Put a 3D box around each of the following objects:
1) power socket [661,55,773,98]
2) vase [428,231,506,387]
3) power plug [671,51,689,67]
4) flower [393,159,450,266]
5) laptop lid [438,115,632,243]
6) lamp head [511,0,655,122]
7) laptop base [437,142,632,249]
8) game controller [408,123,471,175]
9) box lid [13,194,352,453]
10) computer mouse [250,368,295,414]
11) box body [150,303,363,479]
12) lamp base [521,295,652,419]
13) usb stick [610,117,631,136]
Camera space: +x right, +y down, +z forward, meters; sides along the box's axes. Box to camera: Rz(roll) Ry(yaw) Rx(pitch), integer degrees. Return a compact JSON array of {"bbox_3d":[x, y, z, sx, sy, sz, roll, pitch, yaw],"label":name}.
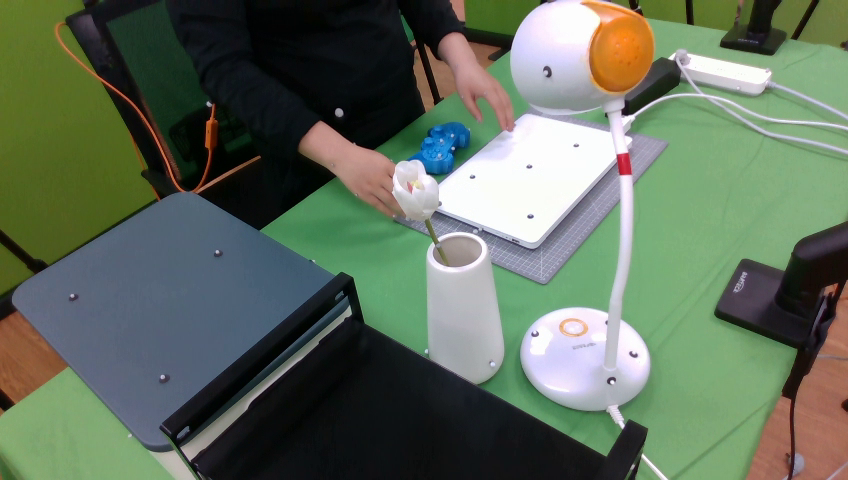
[{"bbox_3d":[0.619,-0.353,1.289,0.225,0.033,0.072,26,51,33],"label":"power socket"},{"bbox_3d":[0.050,0.087,0.728,0.098,0.201,0.097,-3,40,3],"label":"vase"},{"bbox_3d":[0.540,-0.379,1.302,0.073,0.053,0.035,-31,46,-23],"label":"power plug"},{"bbox_3d":[0.028,0.035,0.664,0.043,0.364,0.038,34,72,29],"label":"flower"},{"bbox_3d":[0.189,-0.126,1.081,0.239,0.013,0.358,23,48,35],"label":"laptop lid"},{"bbox_3d":[0.155,-0.168,0.563,0.113,0.113,0.122,-18,23,-12],"label":"lamp head"},{"bbox_3d":[0.192,-0.117,1.087,0.233,0.023,0.355,21,48,34],"label":"laptop base"},{"bbox_3d":[0.028,-0.181,1.170,0.096,0.052,0.155,14,45,19],"label":"game controller"},{"bbox_3d":[-0.291,0.067,0.716,0.368,0.015,0.264,25,50,33],"label":"box lid"},{"bbox_3d":[-0.196,0.182,0.771,0.063,0.041,0.116,-12,47,-11],"label":"computer mouse"},{"bbox_3d":[-0.284,0.123,0.765,0.361,0.161,0.255,25,49,33],"label":"box body"},{"bbox_3d":[0.201,0.095,0.710,0.161,0.181,0.178,-16,43,-10],"label":"lamp base"},{"bbox_3d":[0.369,-0.208,1.147,0.021,0.027,0.059,25,55,33],"label":"usb stick"}]
